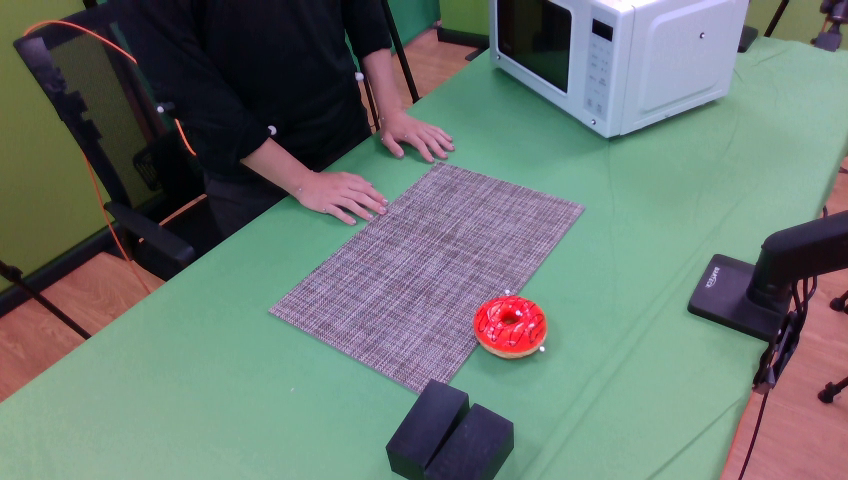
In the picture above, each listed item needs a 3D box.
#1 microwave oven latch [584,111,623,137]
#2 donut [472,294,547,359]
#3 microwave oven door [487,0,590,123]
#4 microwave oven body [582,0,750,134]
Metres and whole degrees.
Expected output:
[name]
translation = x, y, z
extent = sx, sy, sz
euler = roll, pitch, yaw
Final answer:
[microwave oven latch]
translation = 0.337, -0.222, 1.142
extent = 0.030, 0.029, 0.078
euler = -21, 42, -14
[donut]
translation = 0.114, 0.114, 0.803
extent = 0.099, 0.048, 0.098
euler = 0, 40, 1
[microwave oven door]
translation = 0.232, -0.420, 1.231
extent = 0.039, 0.245, 0.352
euler = -22, 43, -16
[microwave oven body]
translation = 0.382, -0.444, 1.246
extent = 0.327, 0.261, 0.437
euler = -22, 42, -16
